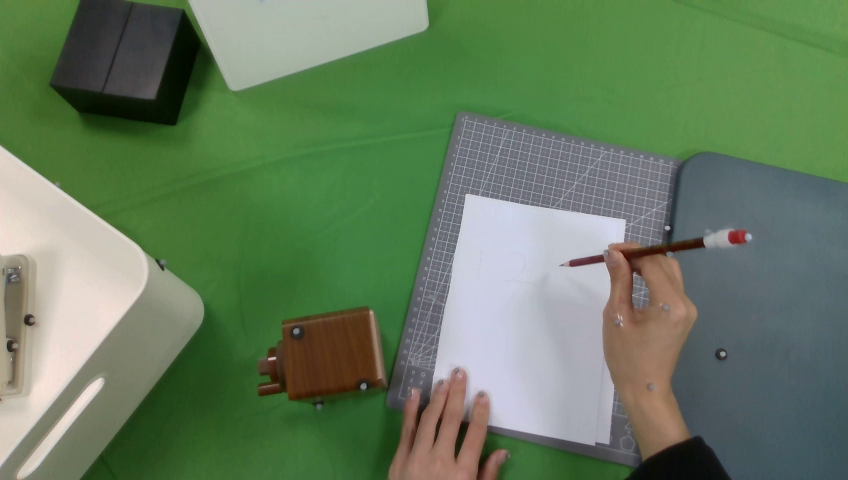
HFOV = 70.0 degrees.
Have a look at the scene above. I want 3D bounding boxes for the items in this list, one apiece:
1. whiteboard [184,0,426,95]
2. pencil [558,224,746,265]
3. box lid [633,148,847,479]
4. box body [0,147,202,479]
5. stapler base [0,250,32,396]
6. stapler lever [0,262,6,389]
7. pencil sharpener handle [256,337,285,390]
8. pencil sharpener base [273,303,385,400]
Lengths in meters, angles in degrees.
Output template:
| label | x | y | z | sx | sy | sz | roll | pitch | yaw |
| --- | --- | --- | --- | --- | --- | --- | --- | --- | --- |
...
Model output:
| label | x | y | z | sx | sy | sz | roll | pitch | yaw |
| --- | --- | --- | --- | --- | --- | --- | --- | --- | --- |
| whiteboard | -0.136 | -0.322 | 0.538 | 0.217 | 0.308 | 0.142 | -20 | 56 | -7 |
| pencil | 0.164 | 0.008 | 0.476 | 0.012 | 0.193 | 0.012 | 4 | 80 | -24 |
| box lid | 0.341 | 0.101 | 0.560 | 0.263 | 0.015 | 0.369 | 13 | 75 | 0 |
| box body | -0.395 | 0.037 | 0.471 | 0.363 | 0.161 | 0.253 | 33 | 76 | 7 |
| stapler base | -0.371 | 0.070 | 0.529 | 0.041 | 0.024 | 0.130 | -7 | 77 | -2 |
| stapler lever | -0.369 | 0.065 | 0.503 | 0.027 | 0.040 | 0.117 | -7 | 77 | -2 |
| pencil sharpener handle | -0.124 | 0.103 | 0.479 | 0.031 | 0.068 | 0.035 | -9 | 58 | -4 |
| pencil sharpener base | -0.075 | 0.094 | 0.496 | 0.077 | 0.107 | 0.061 | -9 | 75 | -4 |
